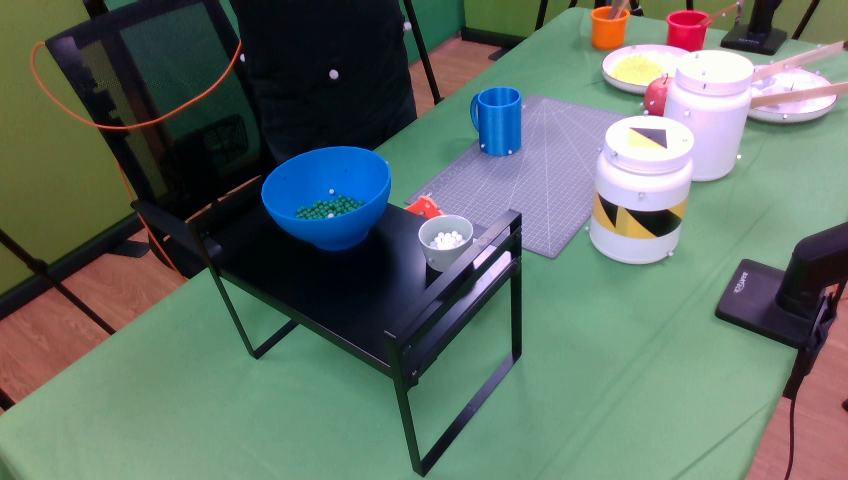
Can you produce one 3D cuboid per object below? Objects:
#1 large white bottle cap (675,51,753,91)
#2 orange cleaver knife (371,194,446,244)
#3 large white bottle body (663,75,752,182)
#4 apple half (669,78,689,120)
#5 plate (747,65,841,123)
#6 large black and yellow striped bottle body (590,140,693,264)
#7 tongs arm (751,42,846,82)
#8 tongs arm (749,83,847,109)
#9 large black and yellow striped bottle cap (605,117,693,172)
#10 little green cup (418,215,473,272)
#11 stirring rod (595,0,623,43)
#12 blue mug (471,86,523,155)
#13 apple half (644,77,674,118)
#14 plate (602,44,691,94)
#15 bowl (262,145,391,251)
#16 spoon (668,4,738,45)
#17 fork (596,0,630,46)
[{"bbox_3d":[0.463,-0.271,0.967,0.115,0.018,0.114,-4,40,4],"label":"large white bottle cap"},{"bbox_3d":[-0.032,-0.026,0.964,0.210,0.077,0.012,-10,29,51],"label":"orange cleaver knife"},{"bbox_3d":[0.472,-0.207,1.022,0.130,0.185,0.130,-4,41,4],"label":"large white bottle body"},{"bbox_3d":[0.498,-0.273,1.180,0.032,0.082,0.081,7,42,25],"label":"apple half"},{"bbox_3d":[0.694,-0.282,1.189,0.207,0.039,0.206,-4,40,4],"label":"plate"},{"bbox_3d":[0.317,-0.071,0.889,0.131,0.185,0.130,-4,41,4],"label":"large black and yellow striped bottle body"},{"bbox_3d":[0.708,-0.331,1.193,0.386,0.026,0.050,-18,45,-16],"label":"tongs arm"},{"bbox_3d":[0.734,-0.280,1.133,0.388,0.028,0.028,-9,47,-5],"label":"tongs arm"},{"bbox_3d":[0.309,-0.134,0.833,0.115,0.019,0.114,-5,40,5],"label":"large black and yellow striped bottle cap"},{"bbox_3d":[0.026,0.005,0.678,0.061,0.039,0.061,-4,40,4],"label":"little green cup"},{"bbox_3d":[0.460,-0.556,1.459,0.014,0.006,0.176,30,93,23],"label":"stirring rod"},{"bbox_3d":[0.135,-0.235,1.163,0.082,0.106,0.115,-36,48,-28],"label":"blue mug"},{"bbox_3d":[0.463,-0.279,1.194,0.053,0.075,0.081,8,46,24],"label":"apple half"},{"bbox_3d":[0.495,-0.367,1.317,0.209,0.038,0.208,-4,40,4],"label":"plate"},{"bbox_3d":[-0.109,-0.041,0.723,0.151,0.077,0.150,-4,40,4],"label":"bowl"},{"bbox_3d":[0.618,-0.478,1.346,0.042,0.193,0.021,-25,89,-20],"label":"spoon"},{"bbox_3d":[0.481,-0.556,1.453,0.028,0.019,0.207,40,103,41],"label":"fork"}]
